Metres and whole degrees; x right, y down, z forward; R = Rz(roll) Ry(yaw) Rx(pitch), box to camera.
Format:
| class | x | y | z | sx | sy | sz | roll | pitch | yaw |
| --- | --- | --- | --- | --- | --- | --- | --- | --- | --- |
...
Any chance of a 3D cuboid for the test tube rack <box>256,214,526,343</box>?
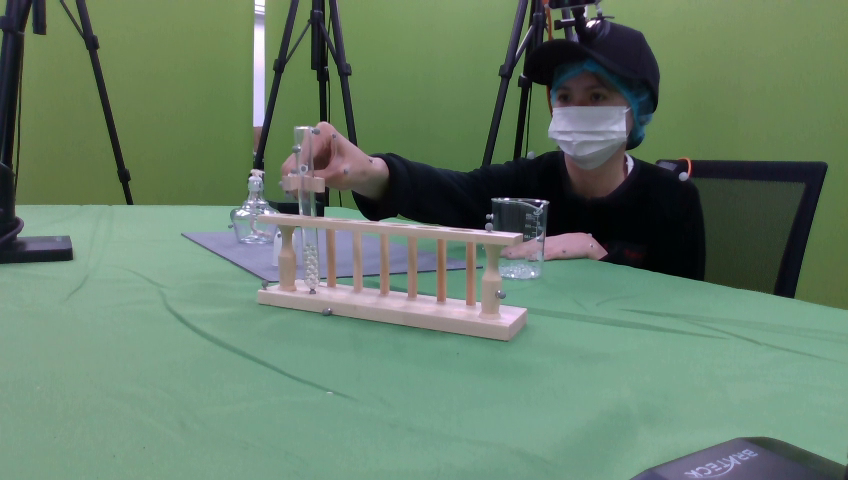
| class | x | y | z | sx | sy | sz | roll | pitch | yaw |
| --- | --- | --- | --- | --- | --- | --- | --- | --- | --- |
| test tube rack | -0.032 | 0.027 | 0.547 | 0.241 | 0.085 | 0.067 | 5 | 8 | 22 |

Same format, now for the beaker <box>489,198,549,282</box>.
| class | x | y | z | sx | sy | sz | roll | pitch | yaw |
| --- | --- | --- | --- | --- | --- | --- | --- | --- | --- |
| beaker | 0.120 | -0.001 | 0.768 | 0.074 | 0.100 | 0.083 | -1 | 9 | -25 |

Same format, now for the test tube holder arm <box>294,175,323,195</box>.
| class | x | y | z | sx | sy | sz | roll | pitch | yaw |
| --- | --- | --- | --- | --- | --- | --- | --- | --- | --- |
| test tube holder arm | -0.116 | -0.054 | 0.585 | 0.010 | 0.015 | 0.087 | 3 | 8 | -29 |

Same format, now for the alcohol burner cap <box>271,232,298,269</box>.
| class | x | y | z | sx | sy | sz | roll | pitch | yaw |
| --- | --- | --- | --- | --- | --- | --- | --- | --- | --- |
| alcohol burner cap | -0.175 | 0.012 | 0.761 | 0.034 | 0.048 | 0.034 | 2 | 8 | 0 |

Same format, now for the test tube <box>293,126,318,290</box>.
| class | x | y | z | sx | sy | sz | roll | pitch | yaw |
| --- | --- | --- | --- | --- | --- | --- | --- | --- | --- |
| test tube | -0.108 | -0.028 | 0.551 | 0.017 | 0.150 | 0.017 | -1 | 10 | 0 |

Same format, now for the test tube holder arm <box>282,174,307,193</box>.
| class | x | y | z | sx | sy | sz | roll | pitch | yaw |
| --- | --- | --- | --- | --- | --- | --- | --- | --- | --- |
| test tube holder arm | -0.132 | -0.061 | 0.626 | 0.013 | 0.015 | 0.178 | 8 | 6 | -9 |

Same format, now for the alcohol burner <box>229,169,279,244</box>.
| class | x | y | z | sx | sy | sz | roll | pitch | yaw |
| --- | --- | --- | --- | --- | --- | --- | --- | --- | --- |
| alcohol burner | -0.268 | -0.053 | 0.958 | 0.078 | 0.119 | 0.078 | 2 | 6 | 0 |
